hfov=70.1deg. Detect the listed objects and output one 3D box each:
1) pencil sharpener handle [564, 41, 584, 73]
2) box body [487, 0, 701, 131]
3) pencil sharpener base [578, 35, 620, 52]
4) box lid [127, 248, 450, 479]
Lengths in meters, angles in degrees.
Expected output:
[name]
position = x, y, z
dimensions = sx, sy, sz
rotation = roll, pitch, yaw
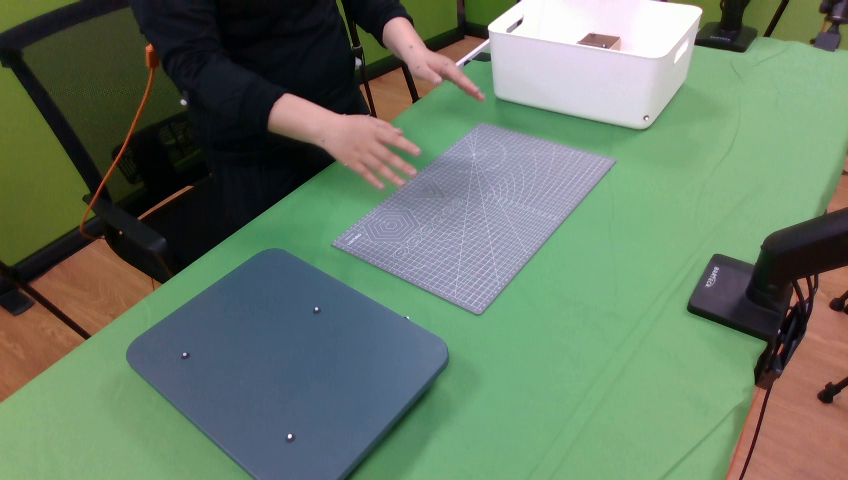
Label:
[pencil sharpener handle]
position = 0.318, -0.391, 1.288
dimensions = 0.030, 0.068, 0.036
rotation = 20, 39, 30
[box body]
position = 0.345, -0.379, 1.257
dimensions = 0.361, 0.161, 0.255
rotation = 20, 48, 29
[pencil sharpener base]
position = 0.362, -0.367, 1.273
dimensions = 0.076, 0.107, 0.061
rotation = 20, 48, 30
[box lid]
position = -0.177, 0.145, 0.768
dimensions = 0.368, 0.015, 0.264
rotation = 24, 50, 32
